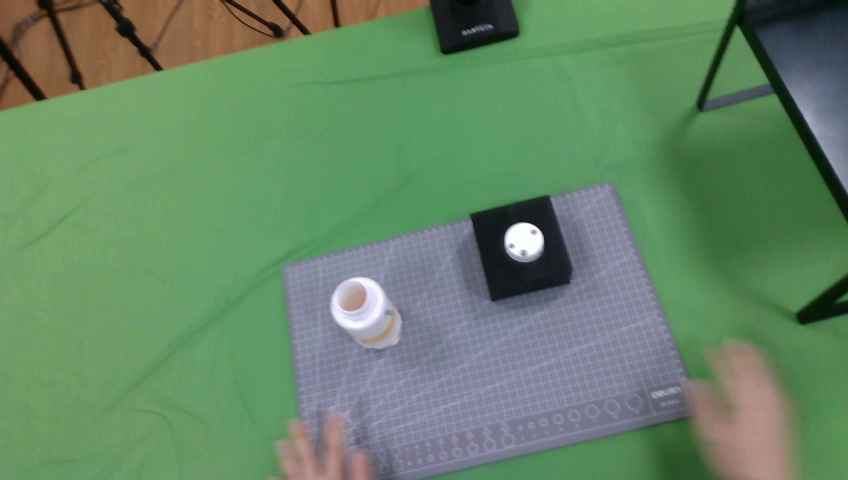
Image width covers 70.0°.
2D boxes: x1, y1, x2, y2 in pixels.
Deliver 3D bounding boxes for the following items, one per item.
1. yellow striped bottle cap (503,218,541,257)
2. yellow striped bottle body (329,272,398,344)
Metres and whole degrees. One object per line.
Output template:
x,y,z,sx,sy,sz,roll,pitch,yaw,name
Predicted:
0.115,-0.003,0.708,0.044,0.019,0.044,-2,71,6,yellow striped bottle cap
-0.071,0.077,0.702,0.063,0.121,0.062,-3,67,8,yellow striped bottle body
